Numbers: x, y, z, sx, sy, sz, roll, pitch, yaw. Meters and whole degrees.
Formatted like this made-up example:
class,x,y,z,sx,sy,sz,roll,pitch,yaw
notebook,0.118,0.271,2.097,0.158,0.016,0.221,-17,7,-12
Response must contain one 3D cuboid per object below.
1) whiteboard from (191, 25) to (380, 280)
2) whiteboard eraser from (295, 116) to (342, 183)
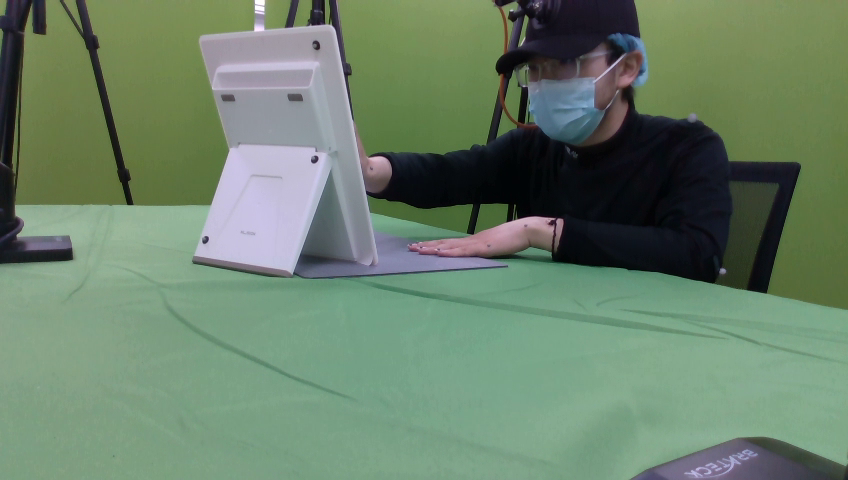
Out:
class,x,y,z,sx,sy,sz,roll,pitch,yaw
whiteboard,-0.206,-0.085,0.733,0.216,0.305,0.144,7,30,30
whiteboard eraser,-0.144,-0.116,0.807,0.042,0.055,0.112,-38,-1,-22
